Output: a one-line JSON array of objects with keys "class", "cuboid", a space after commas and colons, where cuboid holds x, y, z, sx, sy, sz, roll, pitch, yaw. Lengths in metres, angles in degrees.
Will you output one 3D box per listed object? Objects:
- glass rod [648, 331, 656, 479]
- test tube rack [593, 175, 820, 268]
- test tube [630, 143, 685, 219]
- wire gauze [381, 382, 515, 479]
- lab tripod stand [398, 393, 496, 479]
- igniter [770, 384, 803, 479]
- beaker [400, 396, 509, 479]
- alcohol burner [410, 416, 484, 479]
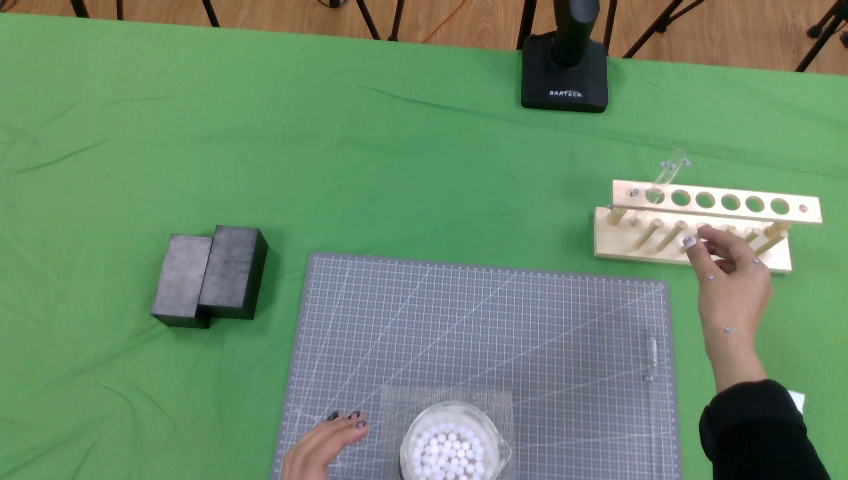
[{"class": "glass rod", "cuboid": [0.259, 0.201, 0.689, 0.008, 0.008, 0.198, 6, 70, 1]}, {"class": "test tube rack", "cuboid": [0.339, -0.021, 0.743, 0.242, 0.086, 0.066, 5, 67, 1]}, {"class": "test tube", "cuboid": [0.269, -0.065, 0.706, 0.017, 0.151, 0.017, 0, 64, 0]}, {"class": "wire gauze", "cuboid": [0.020, 0.190, 0.550, 0.125, 0.011, 0.120, 1, 65, 2]}, {"class": "lab tripod stand", "cuboid": [0.019, 0.219, 0.610, 0.148, 0.132, 0.147, 0, 67, 1]}, {"class": "igniter", "cuboid": [0.388, 0.293, 0.647, 0.057, 0.025, 0.275, 15, 68, -6]}, {"class": "beaker", "cuboid": [0.023, 0.175, 0.504, 0.084, 0.101, 0.073, 0, 67, -1]}, {"class": "alcohol burner", "cuboid": [0.025, 0.216, 0.622, 0.078, 0.120, 0.077, 1, 66, -2]}]
